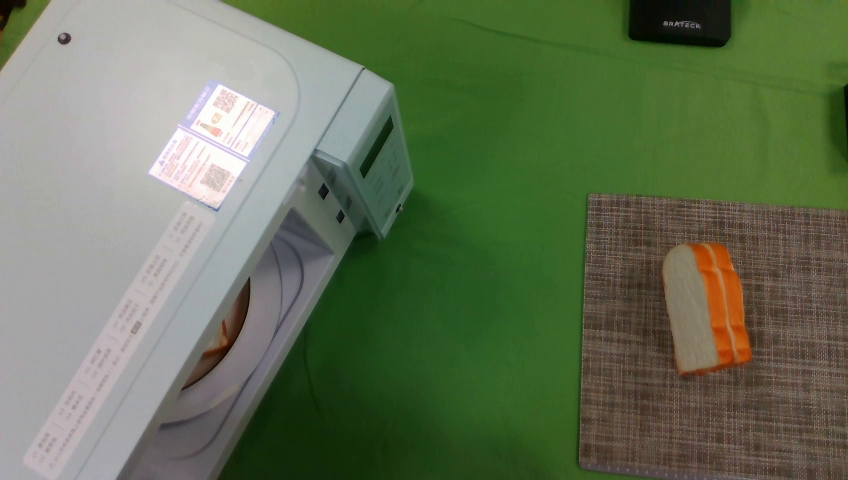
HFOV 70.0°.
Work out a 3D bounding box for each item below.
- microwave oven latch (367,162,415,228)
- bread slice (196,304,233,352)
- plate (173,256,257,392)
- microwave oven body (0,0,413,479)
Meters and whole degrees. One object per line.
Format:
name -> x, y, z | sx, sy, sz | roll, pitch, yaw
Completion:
microwave oven latch -> -0.038, -0.055, 0.685 | 0.030, 0.029, 0.079 | 28, 81, 8
bread slice -> -0.271, 0.079, 0.624 | 0.134, 0.018, 0.106 | -19, 75, -9
plate -> -0.272, 0.055, 0.625 | 0.208, 0.039, 0.206 | 0, 78, 1
microwave oven body -> -0.258, 0.012, 0.582 | 0.325, 0.261, 0.440 | 26, 81, 8
